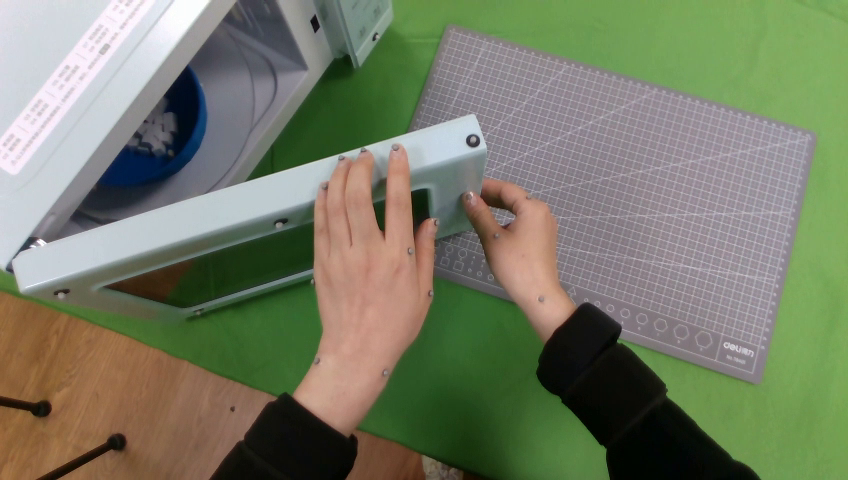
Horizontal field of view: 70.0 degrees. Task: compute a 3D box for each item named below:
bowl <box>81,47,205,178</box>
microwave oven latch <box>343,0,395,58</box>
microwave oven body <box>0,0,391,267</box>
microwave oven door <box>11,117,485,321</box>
[{"bbox_3d":[-0.287,-0.124,0.619,0.151,0.077,0.150,-1,75,3],"label":"bowl"},{"bbox_3d":[-0.065,-0.254,0.705,0.030,0.029,0.079,35,82,8],"label":"microwave oven latch"},{"bbox_3d":[-0.289,-0.207,0.604,0.325,0.261,0.441,32,82,7],"label":"microwave oven body"},{"bbox_3d":[-0.122,-0.005,0.553,0.356,0.245,0.039,-17,77,-2],"label":"microwave oven door"}]
